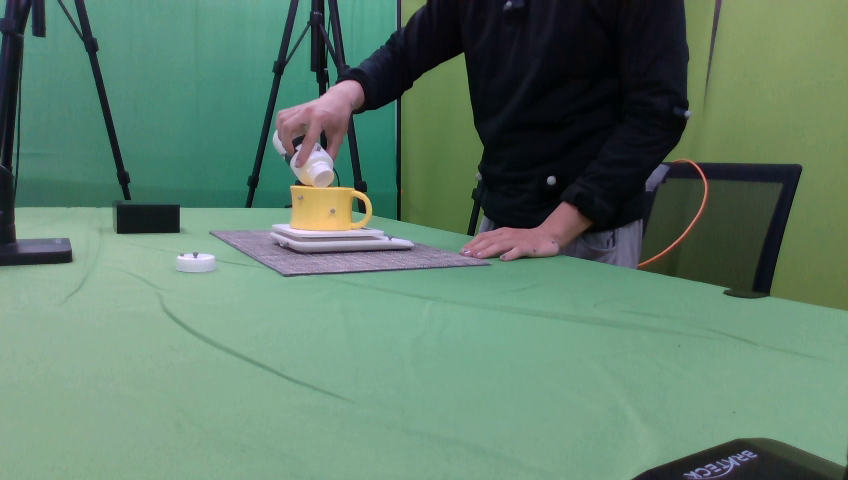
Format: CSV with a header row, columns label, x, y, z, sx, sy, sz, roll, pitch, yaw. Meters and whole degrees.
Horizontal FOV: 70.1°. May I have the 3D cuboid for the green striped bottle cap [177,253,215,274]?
label,x,y,z,sx,sy,sz,roll,pitch,yaw
green striped bottle cap,-0.279,0.028,0.741,0.044,0.020,0.044,5,6,0

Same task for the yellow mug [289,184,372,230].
label,x,y,z,sx,sy,sz,roll,pitch,yaw
yellow mug,-0.145,-0.052,0.943,0.131,0.064,0.100,4,7,9

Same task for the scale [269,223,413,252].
label,x,y,z,sx,sy,sz,roll,pitch,yaw
scale,-0.132,-0.007,0.965,0.202,0.031,0.148,-2,8,-31

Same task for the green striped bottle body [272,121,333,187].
label,x,y,z,sx,sy,sz,roll,pitch,yaw
green striped bottle body,-0.195,-0.137,0.991,0.063,0.063,0.118,-5,46,-46
